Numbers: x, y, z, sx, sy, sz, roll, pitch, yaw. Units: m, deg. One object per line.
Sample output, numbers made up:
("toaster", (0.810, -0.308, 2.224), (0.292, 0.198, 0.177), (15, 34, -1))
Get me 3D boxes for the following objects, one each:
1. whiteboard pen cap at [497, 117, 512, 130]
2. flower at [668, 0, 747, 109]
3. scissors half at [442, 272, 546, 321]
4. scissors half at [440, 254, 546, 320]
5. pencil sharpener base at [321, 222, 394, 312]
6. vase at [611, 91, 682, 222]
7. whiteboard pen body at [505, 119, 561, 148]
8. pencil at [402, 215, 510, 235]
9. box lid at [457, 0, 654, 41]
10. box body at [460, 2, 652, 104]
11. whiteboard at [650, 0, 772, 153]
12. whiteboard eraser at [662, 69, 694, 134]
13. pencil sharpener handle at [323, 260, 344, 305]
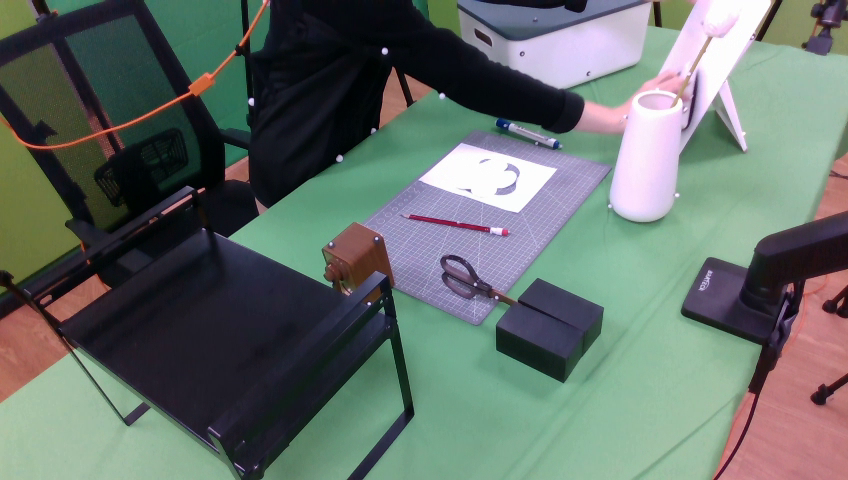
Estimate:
("whiteboard pen cap", (0.165, -0.235, 1.227), (0.033, 0.018, 0.018), (34, 54, 30))
("flower", (0.355, -0.187, 0.879), (0.038, 0.362, 0.044), (31, 48, 14))
("scissors half", (0.094, 0.081, 0.838), (0.173, 0.040, 0.013), (19, 45, 39))
("scissors half", (0.092, 0.065, 0.825), (0.174, 0.040, 0.013), (31, 57, 25))
("pencil sharpener base", (-0.096, 0.041, 0.873), (0.061, 0.107, 0.077), (25, 53, 32))
("vase", (0.348, -0.125, 0.935), (0.098, 0.201, 0.097), (-3, 40, 3))
("whiteboard pen body", (0.209, -0.213, 1.195), (0.139, 0.017, 0.017), (33, 54, 32))
("pencil", (0.049, -0.027, 1.007), (0.193, 0.012, 0.012), (10, 43, 22))
("box lid", (0.285, -0.522, 1.323), (0.373, 0.015, 0.261), (-22, 43, -16))
("box body", (0.291, -0.465, 1.371), (0.365, 0.161, 0.252), (-22, 42, -16))
("whiteboard", (0.543, -0.298, 1.076), (0.144, 0.305, 0.216), (12, 40, -7))
("whiteboard eraser", (0.444, -0.239, 1.064), (0.042, 0.055, 0.112), (12, 83, -11))
("pencil sharpener handle", (-0.131, 0.062, 0.839), (0.035, 0.068, 0.031), (29, 55, 27))
